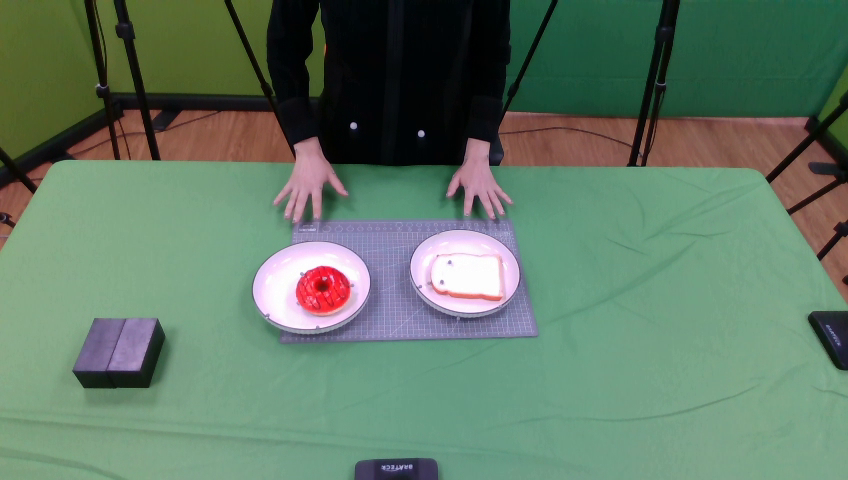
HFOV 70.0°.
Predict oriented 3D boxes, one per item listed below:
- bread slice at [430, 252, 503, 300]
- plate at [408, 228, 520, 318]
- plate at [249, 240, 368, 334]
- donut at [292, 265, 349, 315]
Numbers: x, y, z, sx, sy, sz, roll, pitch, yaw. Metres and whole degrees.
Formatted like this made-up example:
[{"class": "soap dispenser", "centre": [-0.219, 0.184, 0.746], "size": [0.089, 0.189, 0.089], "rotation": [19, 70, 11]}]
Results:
[{"class": "bread slice", "centre": [0.078, 0.067, 1.125], "size": [0.134, 0.018, 0.106], "rotation": [1, 45, -3]}, {"class": "plate", "centre": [0.074, 0.063, 1.128], "size": [0.209, 0.038, 0.208], "rotation": [2, 46, -2]}, {"class": "plate", "centre": [-0.204, 0.086, 1.084], "size": [0.208, 0.039, 0.206], "rotation": [2, 46, -2]}, {"class": "donut", "centre": [-0.182, 0.089, 1.067], "size": [0.099, 0.048, 0.098], "rotation": [3, 50, -4]}]
